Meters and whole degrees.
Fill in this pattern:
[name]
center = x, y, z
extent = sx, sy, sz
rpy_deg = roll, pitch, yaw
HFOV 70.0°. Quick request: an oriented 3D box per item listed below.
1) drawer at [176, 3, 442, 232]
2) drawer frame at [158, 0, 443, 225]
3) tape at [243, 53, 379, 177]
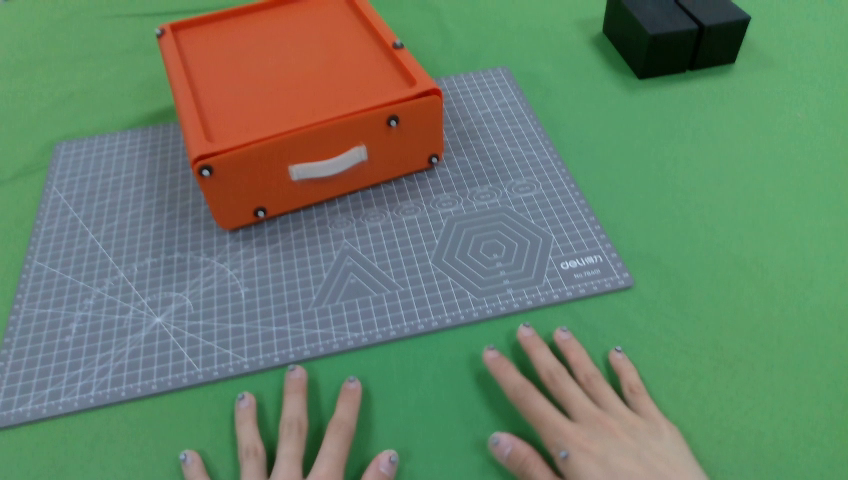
[drawer]
center = -0.113, -0.123, 0.544
extent = 0.195, 0.074, 0.209
rpy_deg = -20, 49, -13
[drawer frame]
center = -0.116, -0.129, 0.547
extent = 0.202, 0.083, 0.211
rpy_deg = -20, 49, -14
[tape]
center = -0.100, -0.113, 0.539
extent = 0.117, 0.053, 0.115
rpy_deg = -1, 50, 2
